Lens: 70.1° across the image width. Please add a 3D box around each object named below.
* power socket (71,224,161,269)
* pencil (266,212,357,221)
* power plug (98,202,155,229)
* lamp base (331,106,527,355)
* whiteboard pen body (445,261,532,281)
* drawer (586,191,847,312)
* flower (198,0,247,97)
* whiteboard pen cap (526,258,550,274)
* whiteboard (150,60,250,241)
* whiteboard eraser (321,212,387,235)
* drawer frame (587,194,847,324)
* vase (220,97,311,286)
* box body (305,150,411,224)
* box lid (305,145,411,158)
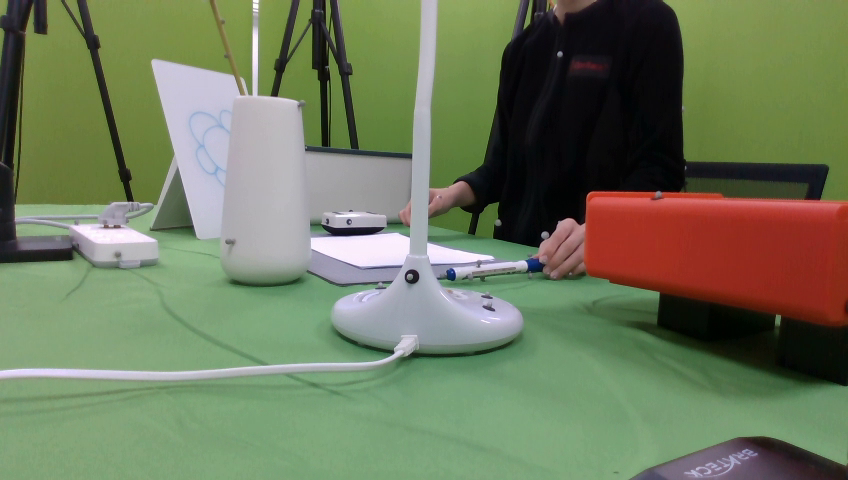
[{"bbox_3d":[-0.408,0.004,0.793,0.072,0.032,0.225,-2,8,-38],"label":"power socket"},{"bbox_3d":[-0.244,-0.049,1.319,0.195,0.012,0.012,3,7,-12],"label":"pencil"},{"bbox_3d":[-0.416,-0.027,0.848,0.073,0.052,0.035,0,8,-28],"label":"power plug"},{"bbox_3d":[0.006,-0.012,0.478,0.161,0.180,0.179,2,10,2],"label":"lamp base"},{"bbox_3d":[0.089,0.036,0.731,0.141,0.017,0.017,-3,9,-30],"label":"whiteboard pen body"},{"bbox_3d":[0.281,0.001,0.513,0.195,0.073,0.210,-1,8,-29],"label":"drawer"},{"bbox_3d":[-0.187,-0.133,0.648,0.038,0.362,0.044,-1,22,43],"label":"flower"},{"bbox_3d":[0.141,0.033,0.760,0.033,0.018,0.018,-4,10,-31],"label":"whiteboard pen cap"},{"bbox_3d":[-0.408,-0.139,1.093,0.143,0.305,0.218,-15,-1,26],"label":"whiteboard"},{"bbox_3d":[-0.128,-0.031,1.108,0.113,0.042,0.055,-3,7,-38],"label":"whiteboard eraser"},{"bbox_3d":[0.285,0.004,0.508,0.203,0.082,0.212,-1,6,-30],"label":"drawer frame"},{"bbox_3d":[-0.172,-0.052,0.662,0.098,0.200,0.098,3,9,0],"label":"vase"},{"bbox_3d":[-0.230,-0.126,1.372,0.366,0.160,0.253,-2,9,-33],"label":"box body"},{"bbox_3d":[-0.228,-0.200,1.361,0.373,0.015,0.262,-1,8,-33],"label":"box lid"}]
